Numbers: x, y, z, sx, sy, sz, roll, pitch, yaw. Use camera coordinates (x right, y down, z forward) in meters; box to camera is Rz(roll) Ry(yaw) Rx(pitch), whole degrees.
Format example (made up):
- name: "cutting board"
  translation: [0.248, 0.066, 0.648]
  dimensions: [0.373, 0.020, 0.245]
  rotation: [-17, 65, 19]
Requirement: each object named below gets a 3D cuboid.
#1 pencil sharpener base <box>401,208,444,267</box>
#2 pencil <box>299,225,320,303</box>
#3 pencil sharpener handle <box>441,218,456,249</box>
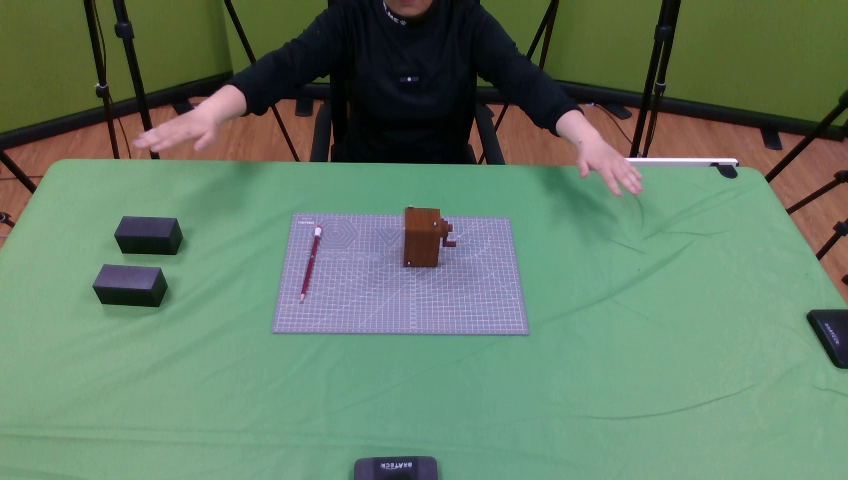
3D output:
- name: "pencil sharpener base"
  translation: [-0.005, -0.003, 1.137]
  dimensions: [0.077, 0.107, 0.061]
  rotation: [1, 45, -4]
- name: "pencil"
  translation: [-0.217, 0.043, 1.144]
  dimensions: [0.012, 0.012, 0.193]
  rotation: [4, 47, 0]
- name: "pencil sharpener handle"
  translation: [0.047, -0.010, 1.131]
  dimensions: [0.031, 0.068, 0.036]
  rotation: [1, 43, -3]
